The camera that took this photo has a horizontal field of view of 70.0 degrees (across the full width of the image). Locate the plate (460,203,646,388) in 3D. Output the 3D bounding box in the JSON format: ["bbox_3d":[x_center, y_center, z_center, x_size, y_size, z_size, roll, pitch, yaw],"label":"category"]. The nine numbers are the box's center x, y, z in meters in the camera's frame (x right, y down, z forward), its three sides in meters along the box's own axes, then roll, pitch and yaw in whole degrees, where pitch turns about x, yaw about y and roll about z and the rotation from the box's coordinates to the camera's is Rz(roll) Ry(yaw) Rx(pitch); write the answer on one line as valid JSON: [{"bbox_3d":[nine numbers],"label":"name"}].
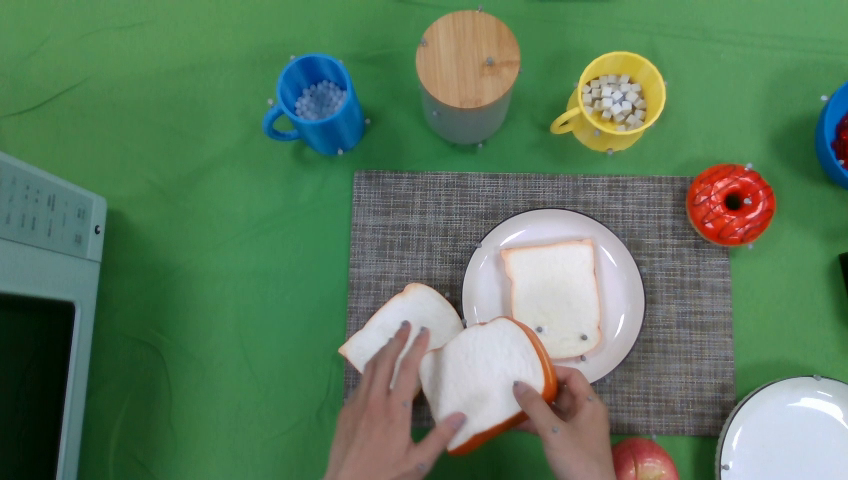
[{"bbox_3d":[0.145,0.063,0.696,0.207,0.039,0.207,0,82,2],"label":"plate"}]

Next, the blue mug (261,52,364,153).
[{"bbox_3d":[-0.133,-0.150,0.706,0.116,0.106,0.082,-24,81,-2],"label":"blue mug"}]

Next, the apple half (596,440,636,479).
[{"bbox_3d":[0.201,0.255,0.649,0.033,0.081,0.081,-5,80,-4],"label":"apple half"}]

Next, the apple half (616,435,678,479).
[{"bbox_3d":[0.241,0.249,0.651,0.053,0.075,0.080,-7,79,-3],"label":"apple half"}]

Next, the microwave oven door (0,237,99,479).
[{"bbox_3d":[-0.410,0.177,0.577,0.039,0.244,0.354,1,81,2],"label":"microwave oven door"}]

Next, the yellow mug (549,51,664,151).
[{"bbox_3d":[0.209,-0.157,0.717,0.131,0.064,0.099,-22,81,-1],"label":"yellow mug"}]

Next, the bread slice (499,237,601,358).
[{"bbox_3d":[0.151,0.067,0.695,0.107,0.018,0.134,-10,82,1],"label":"bread slice"}]

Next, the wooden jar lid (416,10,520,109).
[{"bbox_3d":[0.045,-0.186,0.633,0.108,0.021,0.108,0,79,2],"label":"wooden jar lid"}]

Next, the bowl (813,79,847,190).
[{"bbox_3d":[0.512,-0.112,0.694,0.151,0.077,0.151,0,82,2],"label":"bowl"}]

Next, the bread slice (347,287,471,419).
[{"bbox_3d":[-0.008,0.122,0.691,0.105,0.019,0.131,36,82,-2],"label":"bread slice"}]

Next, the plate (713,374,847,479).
[{"bbox_3d":[0.419,0.251,0.662,0.209,0.038,0.208,0,81,2],"label":"plate"}]

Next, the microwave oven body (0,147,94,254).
[{"bbox_3d":[-0.553,0.131,0.594,0.326,0.261,0.440,2,82,2],"label":"microwave oven body"}]

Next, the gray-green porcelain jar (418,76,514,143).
[{"bbox_3d":[0.048,-0.175,0.695,0.106,0.127,0.105,0,81,2],"label":"gray-green porcelain jar"}]

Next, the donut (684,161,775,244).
[{"bbox_3d":[0.352,-0.044,0.702,0.099,0.048,0.098,0,82,2],"label":"donut"}]

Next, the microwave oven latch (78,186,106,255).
[{"bbox_3d":[-0.396,-0.023,0.710,0.030,0.029,0.079,6,82,2],"label":"microwave oven latch"}]
